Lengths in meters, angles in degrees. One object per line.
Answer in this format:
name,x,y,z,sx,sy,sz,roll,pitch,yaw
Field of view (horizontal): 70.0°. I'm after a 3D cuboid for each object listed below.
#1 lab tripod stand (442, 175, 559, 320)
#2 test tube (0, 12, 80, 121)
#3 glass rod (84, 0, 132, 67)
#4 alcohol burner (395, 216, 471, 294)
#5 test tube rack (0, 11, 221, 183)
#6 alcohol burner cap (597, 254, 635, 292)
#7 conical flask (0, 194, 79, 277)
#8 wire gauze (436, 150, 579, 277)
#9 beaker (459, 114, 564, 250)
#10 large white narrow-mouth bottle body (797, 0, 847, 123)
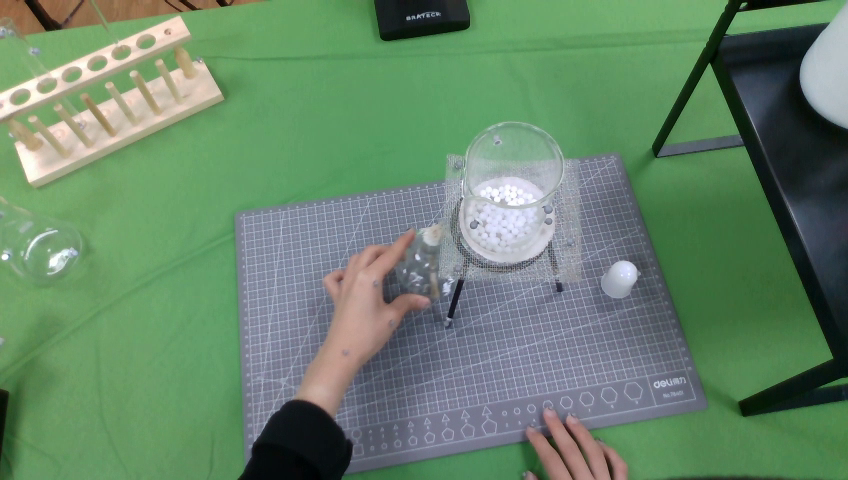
lab tripod stand,0.070,0.007,0.591,0.148,0.132,0.147,0,65,0
test tube,-0.418,-0.183,0.660,0.017,0.151,0.017,-1,60,1
glass rod,-0.352,-0.234,0.663,0.008,0.201,0.008,-2,58,4
alcohol burner,0.009,0.009,0.603,0.078,0.120,0.077,0,65,0
test tube rack,-0.374,-0.166,0.706,0.242,0.086,0.066,-29,68,-11
alcohol burner cap,0.200,0.032,0.627,0.034,0.048,0.033,0,67,1
conical flask,-0.421,-0.015,0.621,0.075,0.123,0.075,-1,66,2
wire gauze,0.074,-0.025,0.533,0.121,0.011,0.124,4,65,0
beaker,0.063,-0.039,0.487,0.084,0.101,0.073,-31,69,-12
large white narrow-mouth bottle body,0.367,-0.174,0.437,0.102,0.196,0.101,-1,66,3
